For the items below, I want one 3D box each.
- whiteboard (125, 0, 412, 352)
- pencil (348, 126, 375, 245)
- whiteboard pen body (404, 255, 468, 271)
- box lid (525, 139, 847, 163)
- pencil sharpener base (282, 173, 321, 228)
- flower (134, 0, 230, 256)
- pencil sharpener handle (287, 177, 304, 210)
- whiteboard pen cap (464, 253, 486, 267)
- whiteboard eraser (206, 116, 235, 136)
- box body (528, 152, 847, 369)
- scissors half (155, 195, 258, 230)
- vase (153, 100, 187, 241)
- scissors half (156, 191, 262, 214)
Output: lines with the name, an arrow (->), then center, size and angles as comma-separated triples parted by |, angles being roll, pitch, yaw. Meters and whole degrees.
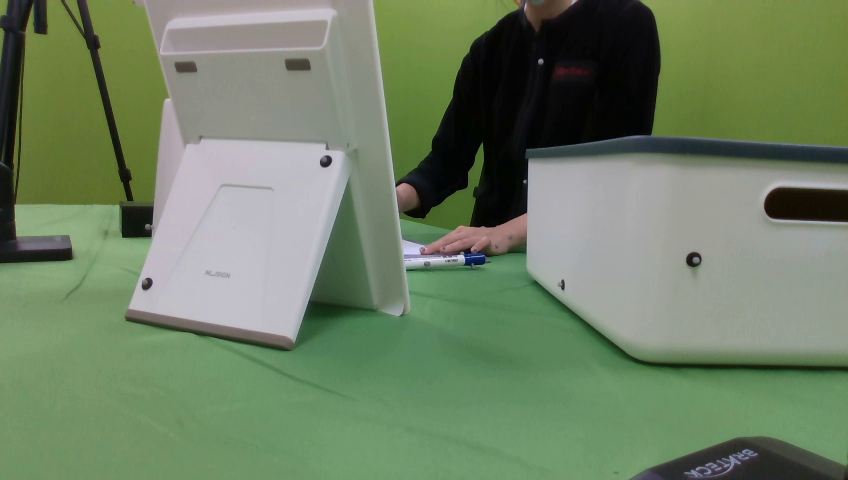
whiteboard -> -0.151, -0.049, 0.472 | 0.216, 0.305, 0.144 | 6, 27, 24
pencil -> -0.098, -0.086, 0.961 | 0.012, 0.194, 0.012 | -11, 4, 1
whiteboard pen body -> 0.013, 0.030, 0.792 | 0.141, 0.017, 0.017 | -3, 9, -24
box lid -> 0.261, -0.078, 0.580 | 0.264, 0.015, 0.371 | 2, 7, -4
pencil sharpener base -> -0.247, -0.080, 1.212 | 0.061, 0.107, 0.076 | -2, 5, -28
flower -> -0.282, -0.147, 0.713 | 0.038, 0.362, 0.044 | -23, 24, -31
pencil sharpener handle -> -0.269, -0.096, 1.257 | 0.036, 0.067, 0.030 | -8, 8, -27
whiteboard pen cap -> 0.066, 0.027, 0.818 | 0.033, 0.018, 0.018 | -5, 10, -24
whiteboard eraser -> -0.450, -0.252, 1.335 | 0.056, 0.042, 0.112 | 1, 7, -22
box body -> 0.258, -0.005, 0.591 | 0.254, 0.160, 0.363 | 2, 7, -4
scissors half -> -0.378, -0.051, 1.059 | 0.176, 0.040, 0.012 | 20, 22, -31
vase -> -0.278, -0.066, 0.736 | 0.098, 0.200, 0.098 | 2, 9, 0
scissors half -> -0.371, -0.069, 1.051 | 0.176, 0.040, 0.013 | 1, 26, -24
